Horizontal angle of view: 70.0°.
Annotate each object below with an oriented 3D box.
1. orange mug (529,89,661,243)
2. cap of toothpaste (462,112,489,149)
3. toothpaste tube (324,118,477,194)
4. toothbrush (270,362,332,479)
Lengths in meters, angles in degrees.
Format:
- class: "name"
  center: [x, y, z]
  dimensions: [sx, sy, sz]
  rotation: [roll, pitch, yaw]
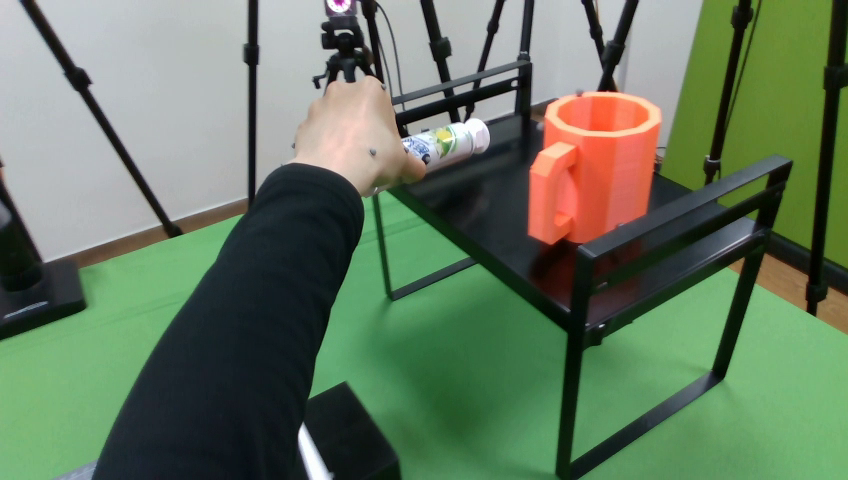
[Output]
- class: "orange mug"
  center: [0.128, -0.054, 0.481]
  dimensions: [0.126, 0.101, 0.082]
  rotation: [-28, 41, -37]
- class: "cap of toothpaste"
  center: [0.046, -0.105, 0.585]
  dimensions: [0.037, 0.037, 0.011]
  rotation: [25, 37, 35]
- class: "toothpaste tube"
  center: [-0.009, -0.079, 0.535]
  dimensions: [0.054, 0.035, 0.165]
  rotation: [33, 41, 30]
- class: "toothbrush"
  center: [-0.098, 0.161, 0.495]
  dimensions: [0.014, 0.017, 0.180]
  rotation: [-16, 37, -22]
